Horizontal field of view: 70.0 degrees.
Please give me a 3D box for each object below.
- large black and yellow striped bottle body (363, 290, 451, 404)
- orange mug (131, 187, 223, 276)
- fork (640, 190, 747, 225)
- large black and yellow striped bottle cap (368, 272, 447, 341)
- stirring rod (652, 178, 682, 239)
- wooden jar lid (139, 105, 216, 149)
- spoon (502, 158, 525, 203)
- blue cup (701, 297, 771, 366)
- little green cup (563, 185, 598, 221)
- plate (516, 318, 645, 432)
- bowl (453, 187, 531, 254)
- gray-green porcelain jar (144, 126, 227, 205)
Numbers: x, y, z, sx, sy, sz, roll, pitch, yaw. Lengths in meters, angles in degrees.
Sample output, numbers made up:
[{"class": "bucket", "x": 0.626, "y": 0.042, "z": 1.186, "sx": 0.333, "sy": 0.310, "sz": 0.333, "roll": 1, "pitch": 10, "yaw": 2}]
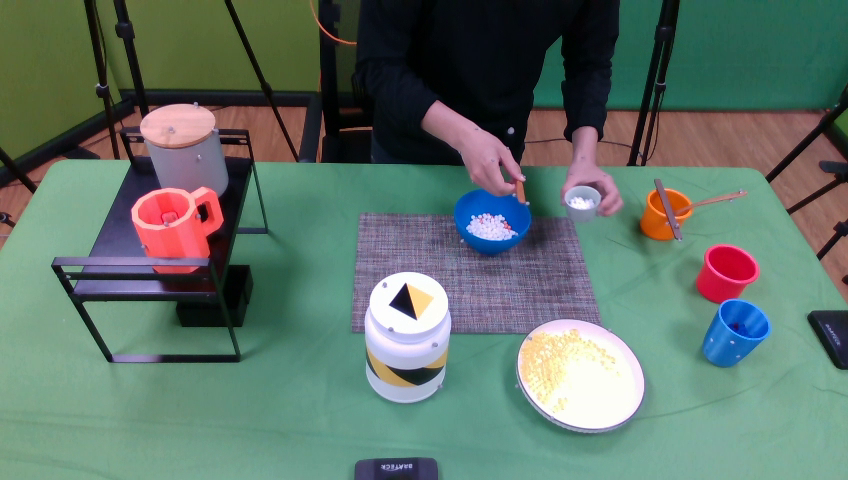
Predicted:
[{"class": "large black and yellow striped bottle body", "x": -0.027, "y": 0.153, "z": 0.935, "sx": 0.131, "sy": 0.185, "sz": 0.130, "roll": 2, "pitch": 46, "yaw": -2}, {"class": "orange mug", "x": -0.354, "y": -0.022, "z": 0.888, "sx": 0.083, "sy": 0.101, "sz": 0.126, "roll": 31, "pitch": 55, "yaw": 24}, {"class": "fork", "x": 0.533, "y": -0.064, "z": 1.211, "sx": 0.207, "sy": 0.019, "sz": 0.028, "roll": -22, "pitch": 28, "yaw": 38}, {"class": "large black and yellow striped bottle cap", "x": -0.023, "y": 0.093, "z": 0.875, "sx": 0.115, "sy": 0.019, "sz": 0.114, "roll": 3, "pitch": 46, "yaw": -3}, {"class": "stirring rod", "x": 0.482, "y": -0.065, "z": 1.204, "sx": 0.014, "sy": 0.006, "sz": 0.175, "roll": 1, "pitch": 46, "yaw": 0}, {"class": "wooden jar lid", "x": -0.372, "y": -0.169, "z": 0.920, "sx": 0.108, "sy": 0.021, "sz": 0.107, "roll": 4, "pitch": 44, "yaw": -4}, {"class": "spoon", "x": 0.156, "y": -0.103, "z": 1.029, "sx": 0.042, "sy": 0.021, "sz": 0.193, "roll": 31, "pitch": 20, "yaw": -10}, {"class": "blue cup", "x": 0.519, "y": 0.162, "z": 1.025, "sx": 0.093, "sy": 0.101, "sz": 0.092, "roll": 3, "pitch": 45, "yaw": -3}, {"class": "little green cup", "x": 0.279, "y": -0.066, "z": 1.086, "sx": 0.061, "sy": 0.039, "sz": 0.061, "roll": -5, "pitch": 48, "yaw": 5}, {"class": "plate", "x": 0.253, "y": 0.221, "z": 0.993, "sx": 0.209, "sy": 0.038, "sz": 0.208, "roll": 2, "pitch": 46, "yaw": -2}, {"class": "bowl", "x": 0.128, "y": -0.025, "z": 1.187, "sx": 0.151, "sy": 0.077, "sz": 0.150, "roll": 2, "pitch": 46, "yaw": -2}, {"class": "gray-green porcelain jar", "x": -0.375, "y": -0.126, "z": 0.967, "sx": 0.106, "sy": 0.127, "sz": 0.105, "roll": 2, "pitch": 46, "yaw": -2}]
